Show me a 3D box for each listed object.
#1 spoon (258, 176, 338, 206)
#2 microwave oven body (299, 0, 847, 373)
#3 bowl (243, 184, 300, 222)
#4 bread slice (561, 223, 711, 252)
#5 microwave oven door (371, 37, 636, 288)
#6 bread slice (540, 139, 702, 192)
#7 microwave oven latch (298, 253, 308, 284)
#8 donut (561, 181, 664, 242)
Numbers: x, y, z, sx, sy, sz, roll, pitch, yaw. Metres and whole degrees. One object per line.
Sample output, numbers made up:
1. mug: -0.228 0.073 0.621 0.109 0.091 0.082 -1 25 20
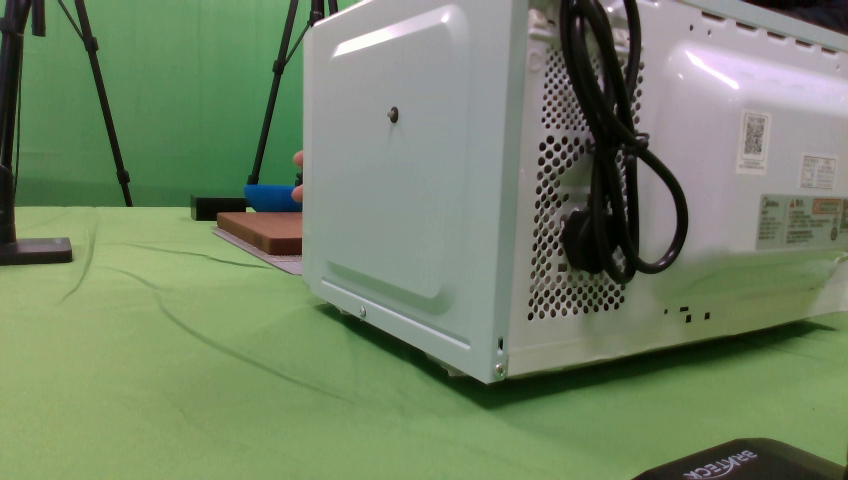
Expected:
1. spoon: -0.279 -0.112 1.356 0.194 0.021 0.041 -27 19 -27
2. microwave oven body: 0.152 -0.055 0.543 0.444 0.260 0.324 -2 8 -33
3. bowl: -0.322 -0.081 1.334 0.151 0.077 0.151 3 8 0
4. bread slice: 0.207 -0.004 0.578 0.105 0.019 0.131 3 4 -12
5. microwave oven door: 0.109 -0.080 0.687 0.358 0.243 0.039 -2 9 -33
6. bread slice: 0.194 -0.073 0.584 0.107 0.018 0.133 -1 21 -36
7. microwave oven latch: -0.081 0.027 0.583 0.079 0.029 0.030 -2 8 -33
8. donut: 0.186 -0.030 0.602 0.099 0.048 0.099 10 -9 2
